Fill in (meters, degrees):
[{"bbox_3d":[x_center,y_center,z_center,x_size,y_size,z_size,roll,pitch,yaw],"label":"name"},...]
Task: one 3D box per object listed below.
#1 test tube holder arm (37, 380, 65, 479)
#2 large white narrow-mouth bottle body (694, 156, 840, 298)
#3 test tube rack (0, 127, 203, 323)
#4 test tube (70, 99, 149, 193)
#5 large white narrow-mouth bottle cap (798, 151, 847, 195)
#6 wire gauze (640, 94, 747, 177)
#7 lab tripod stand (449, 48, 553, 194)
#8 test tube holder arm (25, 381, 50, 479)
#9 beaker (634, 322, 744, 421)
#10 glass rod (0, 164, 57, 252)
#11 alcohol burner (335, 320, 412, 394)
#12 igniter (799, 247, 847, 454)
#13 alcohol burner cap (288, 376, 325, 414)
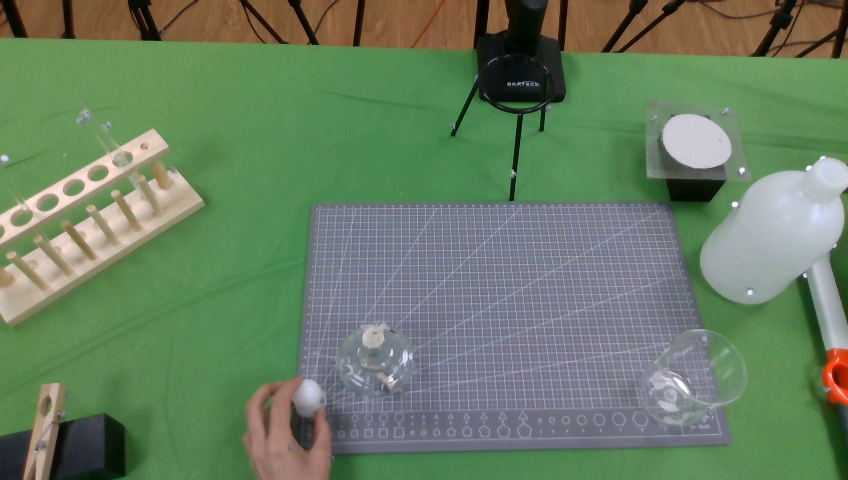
[{"bbox_3d":[-0.338,0.213,0.533,0.013,0.015,0.177,-8,65,2],"label":"test tube holder arm"},{"bbox_3d":[0.372,-0.019,0.643,0.102,0.196,0.101,1,60,-1],"label":"large white narrow-mouth bottle body"},{"bbox_3d":[-0.381,-0.019,0.675,0.242,0.086,0.066,-37,69,-20],"label":"test tube rack"},{"bbox_3d":[-0.340,-0.098,0.664,0.017,0.151,0.017,-1,60,3],"label":"test tube"},{"bbox_3d":[0.375,-0.063,0.569,0.038,0.024,0.037,1,60,-1],"label":"large white narrow-mouth bottle cap"},{"bbox_3d":[0.331,-0.129,0.754,0.121,0.011,0.124,6,60,1],"label":"wire gauze"},{"bbox_3d":[0.102,-0.151,0.742,0.148,0.132,0.147,2,62,-3],"label":"lab tripod stand"},{"bbox_3d":[-0.348,0.173,0.552,0.010,0.015,0.087,-7,65,2],"label":"test tube holder arm"},{"bbox_3d":[0.255,0.135,0.604,0.084,0.101,0.073,5,60,2],"label":"beaker"},{"bbox_3d":[-0.413,-0.046,0.613,0.008,0.201,0.008,3,52,-4],"label":"glass rod"},{"bbox_3d":[-0.050,0.109,0.598,0.078,0.120,0.077,2,60,-3],"label":"alcohol burner"},{"bbox_3d":[0.453,0.125,0.663,0.057,0.025,0.274,9,60,-8],"label":"igniter"},{"bbox_3d":[-0.118,0.152,0.600,0.034,0.048,0.033,-1,64,2],"label":"alcohol burner cap"}]
